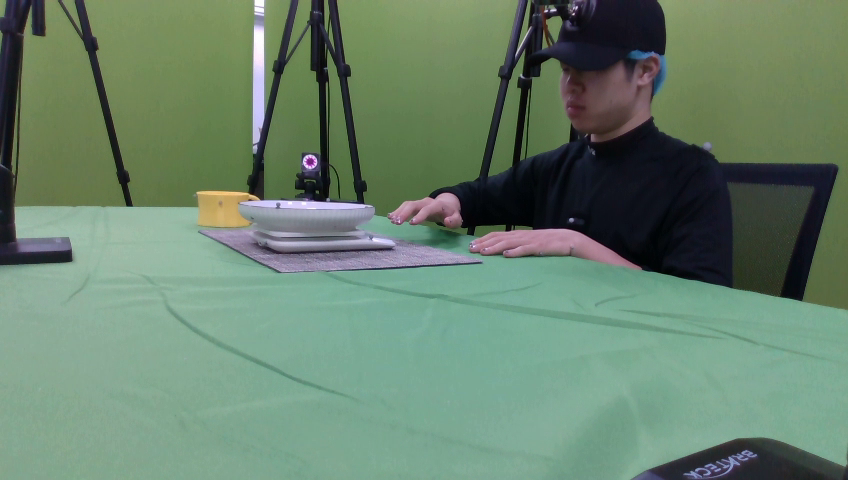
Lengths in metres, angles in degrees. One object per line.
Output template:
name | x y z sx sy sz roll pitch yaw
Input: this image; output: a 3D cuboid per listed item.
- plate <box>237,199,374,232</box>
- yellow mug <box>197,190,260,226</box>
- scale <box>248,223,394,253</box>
plate | -0.183 -0.039 0.941 0.209 0.038 0.209 3 7 0
yellow mug | -0.389 -0.065 1.223 0.131 0.064 0.099 -1 8 -34
scale | -0.162 -0.006 0.954 0.202 0.031 0.148 -2 9 -32
